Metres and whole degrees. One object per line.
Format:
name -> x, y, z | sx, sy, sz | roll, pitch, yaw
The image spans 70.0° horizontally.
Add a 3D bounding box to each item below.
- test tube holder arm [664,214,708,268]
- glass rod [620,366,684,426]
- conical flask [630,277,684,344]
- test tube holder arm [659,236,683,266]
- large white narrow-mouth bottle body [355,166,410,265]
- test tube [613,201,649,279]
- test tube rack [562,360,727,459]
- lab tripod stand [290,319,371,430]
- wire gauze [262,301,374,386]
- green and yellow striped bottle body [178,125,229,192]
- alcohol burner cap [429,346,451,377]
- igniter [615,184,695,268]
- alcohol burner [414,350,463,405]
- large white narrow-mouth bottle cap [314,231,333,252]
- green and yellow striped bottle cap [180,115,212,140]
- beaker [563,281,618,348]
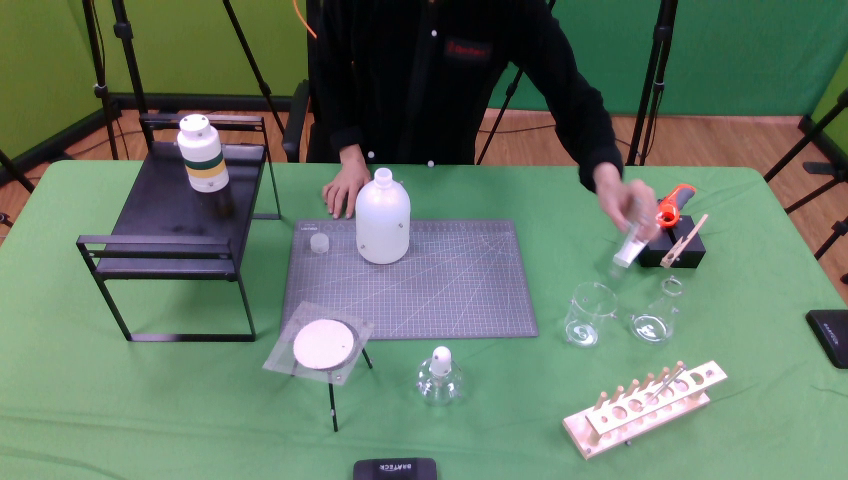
test tube holder arm -> 0.507, -0.001, 1.170 | 0.013, 0.015, 0.178 | 35, 54, 26
glass rod -> 0.323, 0.227, 0.866 | 0.008, 0.200, 0.008 | 5, 51, -7
conical flask -> 0.408, 0.117, 1.045 | 0.075, 0.122, 0.075 | 2, 46, -2
test tube holder arm -> 0.473, 0.020, 1.149 | 0.010, 0.015, 0.088 | 35, 54, 27
large white narrow-mouth bottle body -> -0.076, -0.051, 1.119 | 0.102, 0.195, 0.101 | 2, 44, -2
test tube -> 0.293, 0.004, 0.863 | 0.017, 0.151, 0.017 | 0, 46, 0
test tube rack -> 0.341, 0.247, 0.940 | 0.243, 0.085, 0.066 | -16, 49, -18
lab tripod stand -> -0.146, 0.194, 0.923 | 0.148, 0.132, 0.147 | 1, 47, -1
wire gauze -> -0.150, 0.148, 0.873 | 0.121, 0.011, 0.124 | 14, 46, 12
green and yellow striped bottle body -> -0.361, -0.142, 0.989 | 0.063, 0.120, 0.063 | 2, 46, -2
alcohol burner cap -> 0.026, 0.180, 0.912 | 0.034, 0.048, 0.033 | 2, 47, -1
igniter -> 0.459, -0.035, 1.196 | 0.057, 0.025, 0.276 | 32, 55, 27
alcohol burner -> 0.023, 0.205, 0.939 | 0.078, 0.120, 0.077 | 1, 47, -1
large white narrow-mouth bottle cap -> -0.195, 0.003, 1.178 | 0.038, 0.024, 0.037 | 2, 45, -2
green and yellow striped bottle cap -> -0.358, -0.177, 0.951 | 0.045, 0.020, 0.045 | 2, 45, -2
beaker -> 0.283, 0.129, 1.041 | 0.074, 0.101, 0.083 | 11, 46, 7
